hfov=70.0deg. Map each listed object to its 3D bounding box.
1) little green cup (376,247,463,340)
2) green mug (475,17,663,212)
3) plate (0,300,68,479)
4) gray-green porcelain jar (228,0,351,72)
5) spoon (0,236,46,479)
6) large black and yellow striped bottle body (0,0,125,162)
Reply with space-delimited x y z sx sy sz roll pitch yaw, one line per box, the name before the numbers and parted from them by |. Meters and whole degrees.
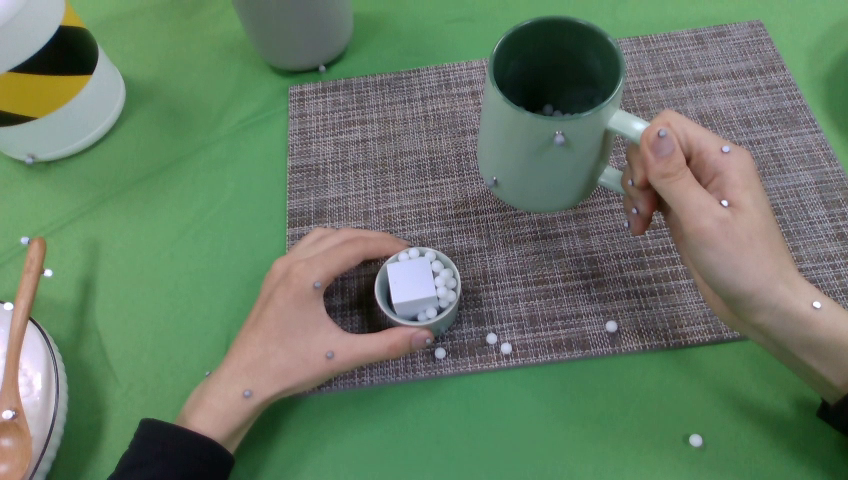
little green cup | -0.003 0.041 0.436 0.061 0.039 0.061 0 56 1
green mug | 0.093 -0.070 0.392 0.124 0.106 0.092 29 70 17
plate | -0.346 0.140 0.421 0.209 0.038 0.207 -2 60 4
gray-green porcelain jar | -0.126 -0.229 0.557 0.106 0.127 0.105 -2 60 4
spoon | -0.289 0.083 0.430 0.041 0.022 0.192 -6 69 1
large black and yellow striped bottle body | -0.361 -0.168 0.512 0.131 0.185 0.129 -2 60 5
